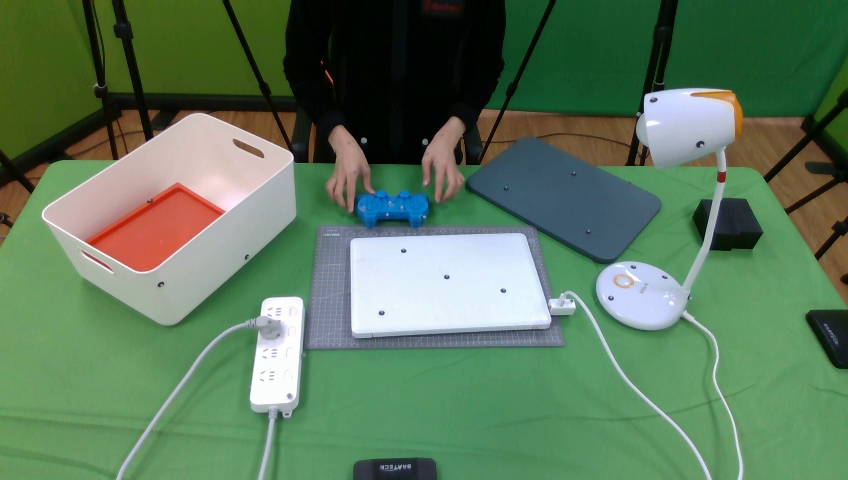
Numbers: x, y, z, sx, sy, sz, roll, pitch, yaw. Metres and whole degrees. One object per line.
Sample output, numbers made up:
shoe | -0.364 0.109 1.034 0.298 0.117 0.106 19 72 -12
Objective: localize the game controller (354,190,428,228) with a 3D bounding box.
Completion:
game controller | -0.066 -0.072 1.244 0.155 0.052 0.096 0 48 -4

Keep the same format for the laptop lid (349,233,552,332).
laptop lid | 0.040 0.071 1.118 0.357 0.013 0.240 -1 44 -5

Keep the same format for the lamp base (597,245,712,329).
lamp base | 0.418 0.051 1.072 0.179 0.181 0.160 22 49 13

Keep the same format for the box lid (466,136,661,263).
box lid | 0.306 -0.102 1.327 0.370 0.015 0.263 32 52 25

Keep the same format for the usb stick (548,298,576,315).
usb stick | 0.240 0.119 1.086 0.059 0.027 0.021 -2 51 -2

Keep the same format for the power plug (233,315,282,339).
power plug | -0.271 0.143 0.999 0.072 0.053 0.035 6 47 3

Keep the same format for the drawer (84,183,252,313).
drawer | -0.457 0.008 1.099 0.194 0.073 0.211 29 49 21

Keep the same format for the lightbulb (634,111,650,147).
lightbulb | 0.348 -0.163 0.852 0.059 0.060 0.107 -36 19 -32

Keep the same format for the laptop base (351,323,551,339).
laptop base | 0.040 0.081 1.125 0.355 0.023 0.234 -2 43 -6

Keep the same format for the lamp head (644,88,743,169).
lamp head | 0.380 -0.161 0.851 0.122 0.113 0.112 -4 42 25

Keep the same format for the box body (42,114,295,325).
box body | -0.437 -0.046 1.110 0.253 0.161 0.363 24 49 19

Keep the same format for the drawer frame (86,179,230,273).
drawer frame | -0.453 0.010 1.100 0.201 0.083 0.213 28 55 22

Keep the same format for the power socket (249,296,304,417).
power socket | -0.239 0.182 0.996 0.072 0.033 0.225 -2 47 -5
